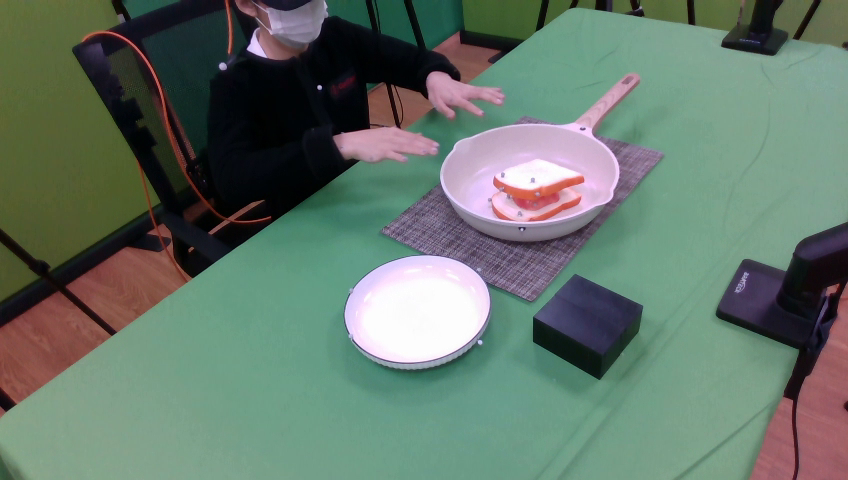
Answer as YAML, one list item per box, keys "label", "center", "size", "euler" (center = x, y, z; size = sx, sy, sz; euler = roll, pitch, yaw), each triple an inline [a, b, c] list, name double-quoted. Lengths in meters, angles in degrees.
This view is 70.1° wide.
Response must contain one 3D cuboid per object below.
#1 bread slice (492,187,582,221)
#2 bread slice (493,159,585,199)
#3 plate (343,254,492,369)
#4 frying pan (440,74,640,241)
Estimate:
- label: "bread slice"
  center: [0.183, -0.067, 1.016]
  size: [0.135, 0.018, 0.106]
  euler: [-29, 43, -23]
- label: "bread slice"
  center: [0.182, -0.100, 0.985]
  size: [0.132, 0.019, 0.104]
  euler: [-21, 33, -32]
- label: "plate"
  center: [-0.008, 0.100, 0.847]
  size: [0.207, 0.039, 0.206]
  euler: [-4, 40, 4]
- label: "frying pan"
  center: [0.245, -0.161, 1.058]
  size: [0.304, 0.103, 0.489]
  euler: [30, 61, 35]
